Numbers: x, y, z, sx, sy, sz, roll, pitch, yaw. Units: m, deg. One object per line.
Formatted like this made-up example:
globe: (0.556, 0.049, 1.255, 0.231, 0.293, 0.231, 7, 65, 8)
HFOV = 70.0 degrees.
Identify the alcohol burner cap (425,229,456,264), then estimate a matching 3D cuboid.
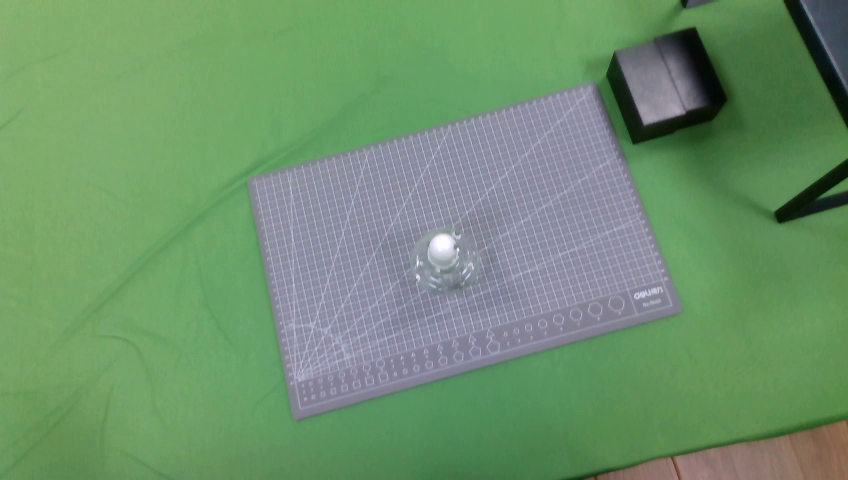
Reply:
alcohol burner cap: (0.017, 0.004, 0.618, 0.034, 0.048, 0.033, 0, 78, 0)

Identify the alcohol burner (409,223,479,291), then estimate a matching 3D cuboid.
alcohol burner: (0.021, 0.014, 0.652, 0.078, 0.120, 0.077, -1, 76, 5)
